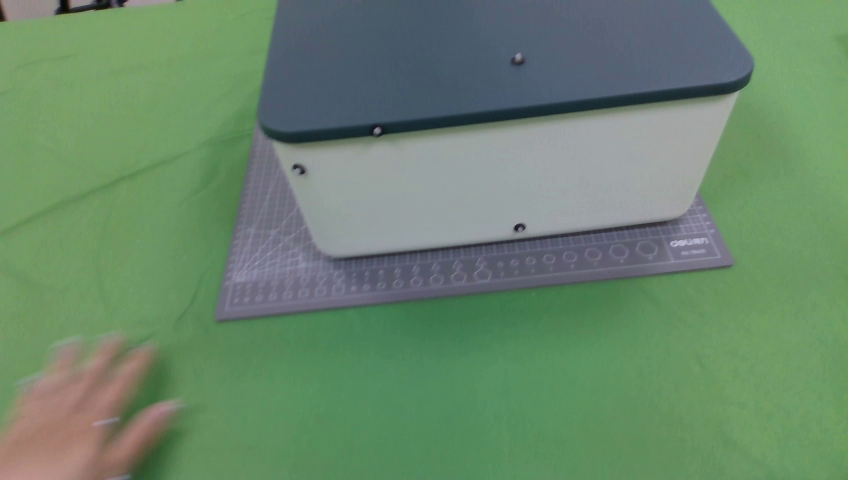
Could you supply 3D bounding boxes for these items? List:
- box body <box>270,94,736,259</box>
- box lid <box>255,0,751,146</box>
[{"bbox_3d":[0.058,-0.132,0.570,0.364,0.162,0.251,-7,48,1],"label":"box body"},{"bbox_3d":[0.048,-0.182,0.515,0.371,0.015,0.260,-6,48,0],"label":"box lid"}]
